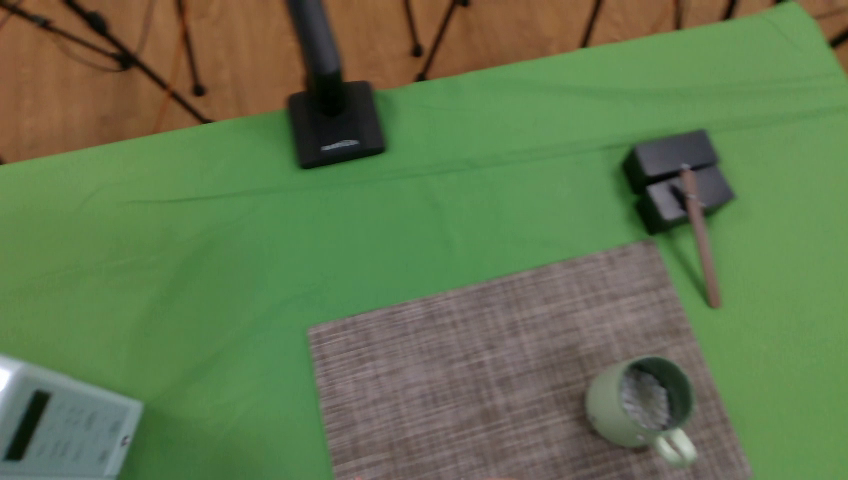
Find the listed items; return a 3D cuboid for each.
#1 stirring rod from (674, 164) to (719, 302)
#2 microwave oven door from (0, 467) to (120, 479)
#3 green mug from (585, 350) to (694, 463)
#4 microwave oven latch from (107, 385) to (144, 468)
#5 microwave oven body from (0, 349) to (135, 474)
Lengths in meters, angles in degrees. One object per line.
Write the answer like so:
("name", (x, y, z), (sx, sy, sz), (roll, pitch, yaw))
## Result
("stirring rod", (0.334, -0.008, 0.743), (0.014, 0.006, 0.176), (-16, 95, 3))
("microwave oven door", (-0.374, 0.359, 0.473), (0.039, 0.245, 0.353), (12, 69, 4))
("green mug", (0.239, 0.181, 0.650), (0.092, 0.105, 0.124), (-31, 73, -13))
("microwave oven latch", (-0.327, 0.199, 0.645), (0.030, 0.029, 0.078), (14, 70, 3))
("microwave oven body", (-0.508, 0.292, 0.500), (0.326, 0.261, 0.439), (12, 70, 2))
